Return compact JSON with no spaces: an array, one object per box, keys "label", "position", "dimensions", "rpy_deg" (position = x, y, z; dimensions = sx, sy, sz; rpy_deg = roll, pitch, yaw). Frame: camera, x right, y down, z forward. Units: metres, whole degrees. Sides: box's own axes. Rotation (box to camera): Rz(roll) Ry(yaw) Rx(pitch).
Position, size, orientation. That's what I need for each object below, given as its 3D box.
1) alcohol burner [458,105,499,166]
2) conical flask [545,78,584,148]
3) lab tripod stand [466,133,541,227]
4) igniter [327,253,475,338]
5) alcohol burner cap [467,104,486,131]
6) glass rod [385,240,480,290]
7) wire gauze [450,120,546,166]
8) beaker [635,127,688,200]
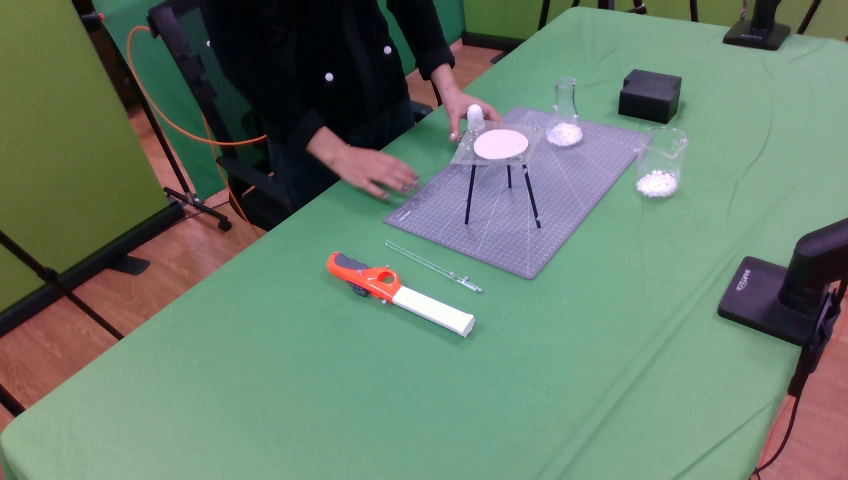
[{"label":"alcohol burner","position":[0.099,-0.199,1.124],"dimensions":[0.078,0.120,0.077],"rpy_deg":[-6,42,6]},{"label":"conical flask","position":[0.264,-0.241,1.135],"dimensions":[0.075,0.122,0.075],"rpy_deg":[-6,40,5]},{"label":"lab tripod stand","position":[0.129,-0.099,0.985],"dimensions":[0.148,0.132,0.147],"rpy_deg":[-7,38,6]},{"label":"igniter","position":[-0.045,0.077,0.898],"dimensions":[0.274,0.025,0.057],"rpy_deg":[22,60,32]},{"label":"alcohol burner cap","position":[0.094,-0.224,1.100],"dimensions":[0.034,0.048,0.033],"rpy_deg":[-7,50,8]},{"label":"glass rod","position":[0.009,0.037,0.950],"dimensions":[0.198,0.008,0.008],"rpy_deg":[26,52,35]},{"label":"wire gauze","position":[0.117,-0.151,0.943],"dimensions":[0.121,0.011,0.125],"rpy_deg":[9,43,21]},{"label":"beaker","position":[0.388,-0.122,0.994],"dimensions":[0.074,0.101,0.083],"rpy_deg":[-8,40,2]}]
